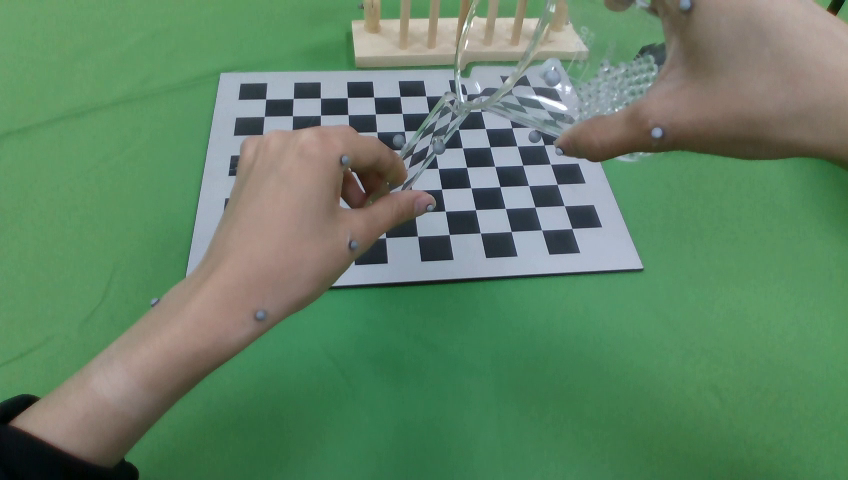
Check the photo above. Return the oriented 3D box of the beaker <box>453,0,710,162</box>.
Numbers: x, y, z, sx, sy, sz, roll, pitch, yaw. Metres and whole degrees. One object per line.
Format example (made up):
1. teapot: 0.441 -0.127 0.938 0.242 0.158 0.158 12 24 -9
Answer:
1. beaker: 0.073 -0.080 0.285 0.101 0.084 0.073 14 43 -24

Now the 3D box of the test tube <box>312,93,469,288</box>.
1. test tube: -0.024 -0.020 0.332 0.017 0.150 0.017 26 38 -21

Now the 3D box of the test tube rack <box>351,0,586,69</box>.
1. test tube rack: 0.048 -0.233 0.613 0.243 0.086 0.066 -4 51 -7
